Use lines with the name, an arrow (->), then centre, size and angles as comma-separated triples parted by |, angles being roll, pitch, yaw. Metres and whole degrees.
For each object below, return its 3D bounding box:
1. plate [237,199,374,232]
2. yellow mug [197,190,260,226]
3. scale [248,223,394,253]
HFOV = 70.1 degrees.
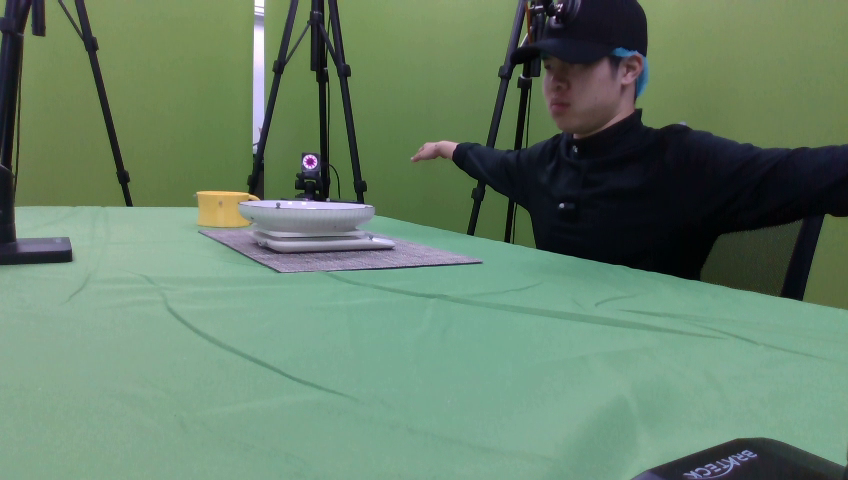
plate -> -0.183, -0.039, 0.941 | 0.209, 0.038, 0.209 | 3, 7, 0
yellow mug -> -0.389, -0.065, 1.223 | 0.131, 0.064, 0.099 | -1, 8, -34
scale -> -0.162, -0.006, 0.954 | 0.202, 0.031, 0.148 | -2, 9, -32
